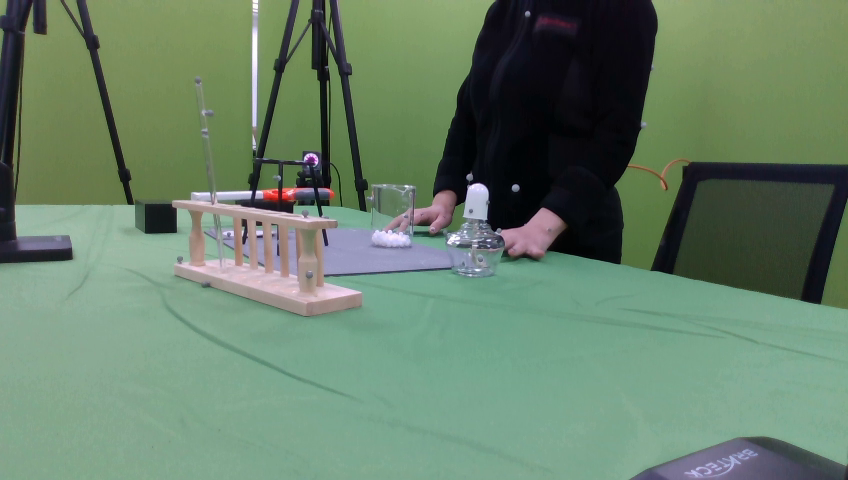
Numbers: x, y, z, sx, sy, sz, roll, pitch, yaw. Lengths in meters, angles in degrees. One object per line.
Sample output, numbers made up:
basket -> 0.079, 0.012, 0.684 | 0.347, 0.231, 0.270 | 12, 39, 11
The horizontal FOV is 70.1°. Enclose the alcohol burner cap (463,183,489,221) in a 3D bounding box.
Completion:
alcohol burner cap -> 0.067, -0.049, 0.765 | 0.034, 0.048, 0.034 | 5, 5, 0

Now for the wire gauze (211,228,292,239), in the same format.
wire gauze -> -0.298, -0.013, 1.039 | 0.122, 0.011, 0.124 | -2, 6, -27

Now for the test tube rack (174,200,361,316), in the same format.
test tube rack -> -0.169, 0.010, 0.622 | 0.241, 0.085, 0.067 | 9, 9, 41

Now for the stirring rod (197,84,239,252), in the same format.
stirring rod -> -0.212, -0.072, 0.625 | 0.006, 0.176, 0.014 | -14, 12, -22

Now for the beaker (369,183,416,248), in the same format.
beaker -> -0.050, -0.039, 0.971 | 0.074, 0.100, 0.083 | -1, 9, -25

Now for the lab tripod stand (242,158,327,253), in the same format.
lab tripod stand -> -0.207, -0.054, 0.895 | 0.148, 0.131, 0.148 | 2, 5, 0

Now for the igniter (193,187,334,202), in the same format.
igniter -> -0.316, -0.090, 1.213 | 0.278, 0.025, 0.057 | -5, 13, -31

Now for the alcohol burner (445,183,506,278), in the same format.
alcohol burner -> 0.066, -0.013, 0.770 | 0.078, 0.119, 0.078 | 0, 7, 0
